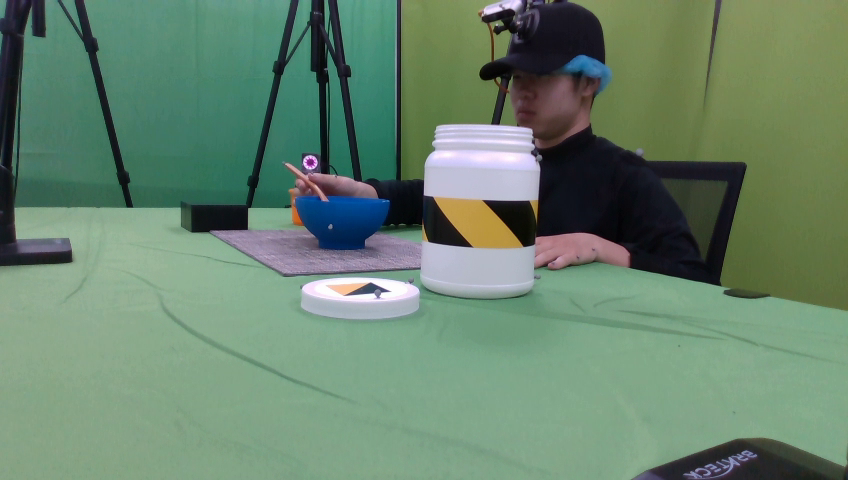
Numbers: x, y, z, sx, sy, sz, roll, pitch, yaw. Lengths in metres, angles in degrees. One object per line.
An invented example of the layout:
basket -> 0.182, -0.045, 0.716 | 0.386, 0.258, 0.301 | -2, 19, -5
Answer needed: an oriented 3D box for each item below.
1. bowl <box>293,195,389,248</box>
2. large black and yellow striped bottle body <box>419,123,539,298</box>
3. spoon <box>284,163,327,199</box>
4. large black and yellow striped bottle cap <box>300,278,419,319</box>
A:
bowl -> -0.132, -0.030, 0.961 | 0.151, 0.077, 0.151 | 2, 7, 0
large black and yellow striped bottle body -> 0.062, -0.036, 0.683 | 0.131, 0.184, 0.130 | 2, 7, 0
spoon -> -0.182, -0.082, 1.015 | 0.042, 0.021, 0.193 | 4, 34, -51
large black and yellow striped bottle cap -> -0.062, 0.055, 0.588 | 0.115, 0.019, 0.115 | 1, 6, 0
